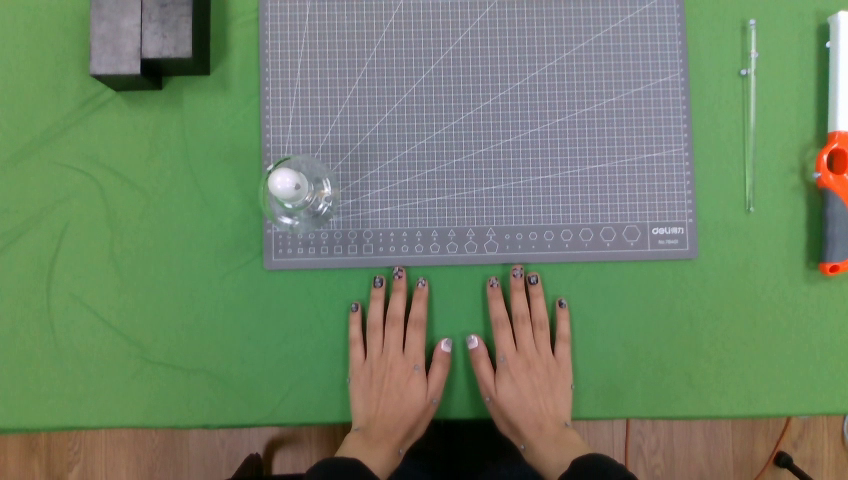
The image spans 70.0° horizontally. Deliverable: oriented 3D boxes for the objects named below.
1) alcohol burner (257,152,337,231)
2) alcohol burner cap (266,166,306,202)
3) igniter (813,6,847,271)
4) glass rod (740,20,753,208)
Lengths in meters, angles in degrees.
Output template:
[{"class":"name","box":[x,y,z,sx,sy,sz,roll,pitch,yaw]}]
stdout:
[{"class":"alcohol burner","box":[-0.124,-0.048,0.574,0.078,0.119,0.078,0,86,2]},{"class":"alcohol burner cap","box":[-0.124,-0.052,0.538,0.034,0.048,0.034,0,90,-4]},{"class":"igniter","box":[0.432,-0.105,0.630,0.057,0.025,0.276,4,87,-11]},{"class":"glass rod","box":[0.341,-0.133,0.640,0.008,0.008,0.199,2,90,-1]}]
